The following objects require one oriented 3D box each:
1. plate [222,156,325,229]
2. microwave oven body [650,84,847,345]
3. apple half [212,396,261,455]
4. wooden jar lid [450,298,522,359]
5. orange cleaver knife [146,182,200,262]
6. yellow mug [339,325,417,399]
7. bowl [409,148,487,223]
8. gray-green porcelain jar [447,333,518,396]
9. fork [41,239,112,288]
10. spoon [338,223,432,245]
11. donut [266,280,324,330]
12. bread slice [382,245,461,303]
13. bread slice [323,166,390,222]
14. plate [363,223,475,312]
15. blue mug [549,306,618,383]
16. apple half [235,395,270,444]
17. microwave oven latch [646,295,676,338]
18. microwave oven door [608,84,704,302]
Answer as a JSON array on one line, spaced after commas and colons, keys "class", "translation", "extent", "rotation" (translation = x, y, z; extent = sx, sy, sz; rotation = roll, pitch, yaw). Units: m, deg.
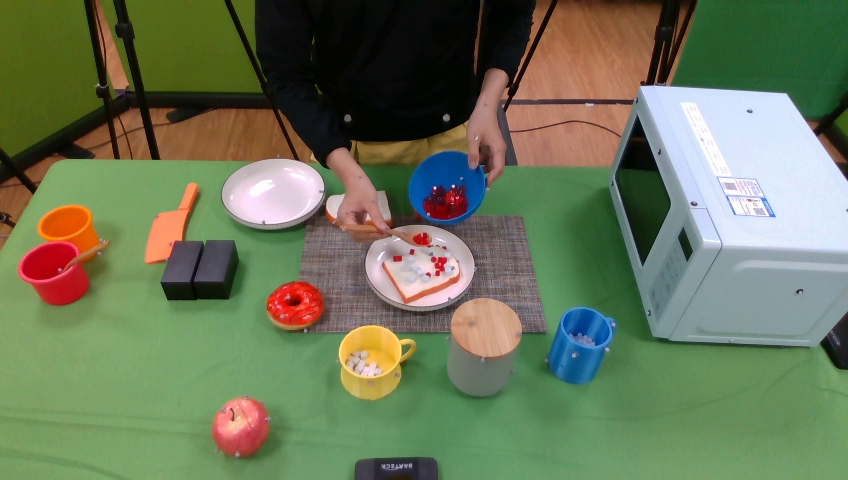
[{"class": "plate", "translation": [-0.308, -0.095, 1.251], "extent": [0.209, 0.038, 0.208], "rotation": [3, 47, -3]}, {"class": "microwave oven body", "translation": [0.569, -0.054, 1.116], "extent": [0.326, 0.261, 0.439], "rotation": [2, 46, -1]}, {"class": "apple half", "translation": [-0.276, 0.276, 0.877], "extent": [0.053, 0.075, 0.080], "rotation": [-29, 58, -21]}, {"class": "wooden jar lid", "translation": [0.093, 0.135, 0.914], "extent": [0.108, 0.021, 0.107], "rotation": [2, 48, -3]}, {"class": "orange cleaver knife", "translation": [-0.494, -0.039, 1.198], "extent": [0.077, 0.012, 0.210], "rotation": [-3, 48, 2]}, {"class": "yellow mug", "translation": [-0.072, 0.190, 0.978], "extent": [0.131, 0.064, 0.099], "rotation": [-17, 50, -20]}, {"class": "bowl", "translation": [0.053, -0.092, 1.168], "extent": [0.151, 0.077, 0.150], "rotation": [-6, 67, 14]}, {"class": "gray-green porcelain jar", "translation": [0.091, 0.178, 0.960], "extent": [0.106, 0.127, 0.105], "rotation": [2, 46, -2]}, {"class": "fork", "translation": [-0.591, 0.040, 1.028], "extent": [0.207, 0.019, 0.028], "rotation": [-27, 37, 29]}, {"class": "spoon", "translation": [-0.063, -0.015, 1.037], "extent": [0.194, 0.021, 0.041], "rotation": [11, 39, -42]}, {"class": "donut", "translation": [-0.223, 0.113, 1.051], "extent": [0.099, 0.048, 0.098], "rotation": [2, 45, -1]}, {"class": "bread slice", "translation": [0.001, 0.054, 1.128], "extent": [0.131, 0.019, 0.104], "rotation": [-21, 52, -20]}, {"class": "bread slice", "translation": [-0.140, -0.092, 1.224], "extent": [0.134, 0.018, 0.106], "rotation": [-19, 51, 6]}, {"class": "plate", "translation": [-0.009, 0.054, 1.127], "extent": [0.208, 0.039, 0.206], "rotation": [2, 47, -2]}, {"class": "blue mug", "translation": [0.269, 0.167, 0.997], "extent": [0.116, 0.106, 0.082], "rotation": [-19, 51, -21]}, {"class": "apple half", "translation": [-0.245, 0.260, 0.893], "extent": [0.033, 0.082, 0.081], "rotation": [-29, 55, -22]}, {"class": "microwave oven latch", "translation": [0.413, 0.133, 1.060], "extent": [0.030, 0.029, 0.078], "rotation": [4, 46, 1]}, {"class": "microwave oven door", "translation": [0.424, -0.096, 1.138], "extent": [0.039, 0.245, 0.353], "rotation": [2, 46, -1]}]
